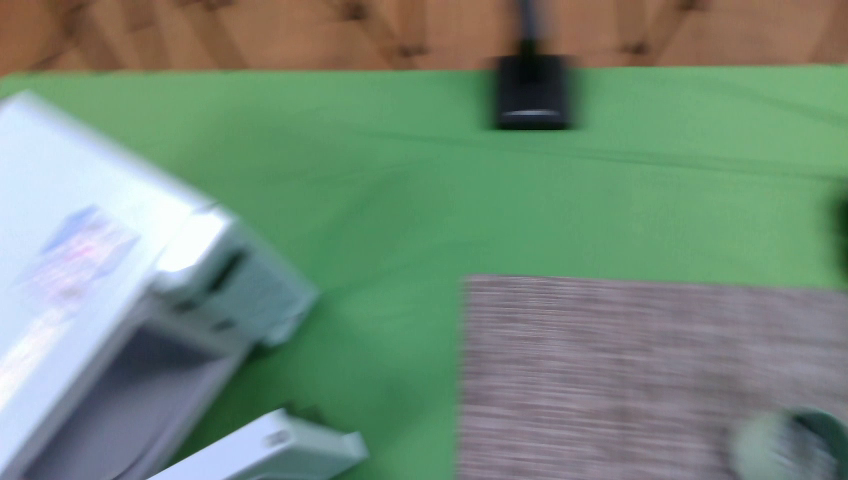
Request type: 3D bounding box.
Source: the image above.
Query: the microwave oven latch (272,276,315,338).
[{"bbox_3d":[-0.166,0.078,0.739,0.030,0.030,0.079,32,77,18],"label":"microwave oven latch"}]

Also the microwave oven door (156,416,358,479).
[{"bbox_3d":[-0.251,0.268,0.567,0.356,0.245,0.039,-29,68,-4],"label":"microwave oven door"}]

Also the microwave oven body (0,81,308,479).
[{"bbox_3d":[-0.400,0.115,0.654,0.324,0.262,0.440,30,77,18],"label":"microwave oven body"}]

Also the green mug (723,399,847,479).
[{"bbox_3d":[0.357,0.218,0.587,0.092,0.106,0.124,-14,67,2],"label":"green mug"}]
